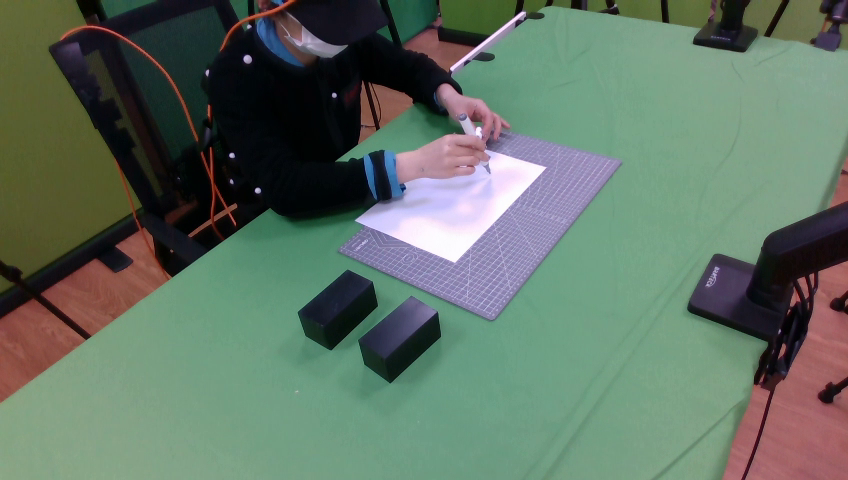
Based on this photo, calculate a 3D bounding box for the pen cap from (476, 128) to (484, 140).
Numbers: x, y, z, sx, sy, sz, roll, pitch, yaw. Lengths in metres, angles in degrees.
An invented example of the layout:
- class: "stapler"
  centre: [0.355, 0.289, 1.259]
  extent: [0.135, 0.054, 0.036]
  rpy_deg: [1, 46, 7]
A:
- class: "pen cap"
  centre: [0.103, -0.199, 1.139]
  extent: [0.017, 0.017, 0.038]
  rpy_deg: [5, 28, 14]

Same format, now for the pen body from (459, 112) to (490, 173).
- class: "pen body"
  centre: [0.090, -0.163, 1.042]
  extent: [0.017, 0.145, 0.017]
  rpy_deg: [-15, 49, 18]
